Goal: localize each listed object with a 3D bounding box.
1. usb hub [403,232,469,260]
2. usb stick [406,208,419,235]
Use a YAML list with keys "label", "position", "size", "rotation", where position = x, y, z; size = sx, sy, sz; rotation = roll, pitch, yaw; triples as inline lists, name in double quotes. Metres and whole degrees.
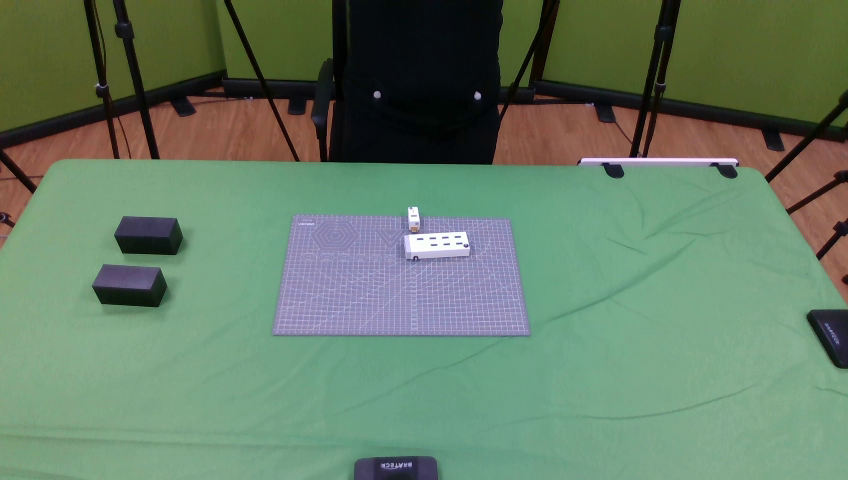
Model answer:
- label: "usb hub"
  position: [0.023, 0.012, 1.181]
  size: [0.125, 0.025, 0.049]
  rotation: [-3, 46, -7]
- label: "usb stick"
  position: [-0.023, -0.037, 1.225]
  size: [0.021, 0.027, 0.059]
  rotation: [0, 49, -9]
